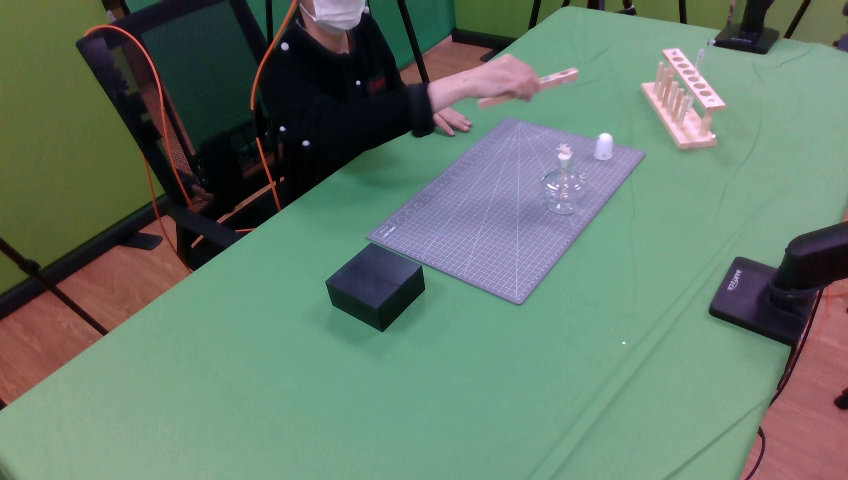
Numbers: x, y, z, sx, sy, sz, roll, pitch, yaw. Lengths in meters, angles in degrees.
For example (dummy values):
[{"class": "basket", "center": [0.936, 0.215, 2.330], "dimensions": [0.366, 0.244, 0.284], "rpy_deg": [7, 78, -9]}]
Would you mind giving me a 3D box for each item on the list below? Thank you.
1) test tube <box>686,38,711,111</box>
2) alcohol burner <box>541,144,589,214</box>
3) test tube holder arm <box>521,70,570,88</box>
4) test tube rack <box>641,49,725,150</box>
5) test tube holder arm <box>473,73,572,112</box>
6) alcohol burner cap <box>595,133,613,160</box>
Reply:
[{"class": "test tube", "center": [0.508, -0.305, 1.128], "dimensions": [0.017, 0.151, 0.017], "rpy_deg": [-2, 46, 3]}, {"class": "alcohol burner", "center": [0.229, -0.102, 0.983], "dimensions": [0.078, 0.119, 0.077], "rpy_deg": [-6, 40, 5]}, {"class": "test tube holder arm", "center": [0.205, -0.266, 1.019], "dimensions": [0.088, 0.015, 0.010], "rpy_deg": [-20, 41, -10]}, {"class": "test tube rack", "center": [0.495, -0.279, 1.175], "dimensions": [0.067, 0.085, 0.241], "rpy_deg": [-5, 41, 3]}, {"class": "test tube holder arm", "center": [0.165, -0.247, 1.007], "dimensions": [0.179, 0.015, 0.013], "rpy_deg": [-20, 41, -10]}, {"class": "alcohol burner cap", "center": [0.330, -0.172, 1.104], "dimensions": [0.034, 0.048, 0.033], "rpy_deg": [-5, 41, 5]}]
